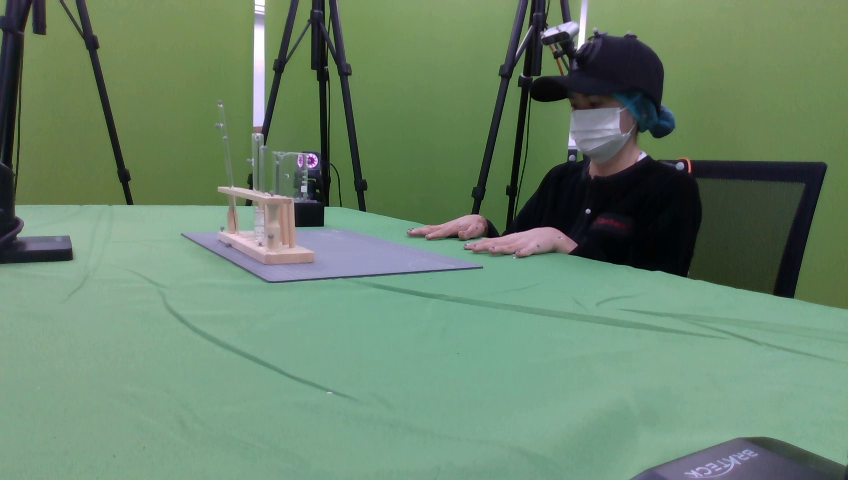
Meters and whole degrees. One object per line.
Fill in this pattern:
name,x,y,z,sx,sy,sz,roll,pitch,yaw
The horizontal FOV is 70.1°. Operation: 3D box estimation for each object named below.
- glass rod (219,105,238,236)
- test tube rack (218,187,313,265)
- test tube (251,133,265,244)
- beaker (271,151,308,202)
glass rod,-0.294,-0.100,0.907,0.008,0.199,0.008,-3,12,1
test tube rack,-0.235,-0.027,0.872,0.067,0.085,0.241,-2,8,-32
test tube,-0.227,-0.070,0.825,0.017,0.150,0.017,0,3,0
beaker,-0.277,-0.129,1.237,0.074,0.100,0.084,4,9,10
